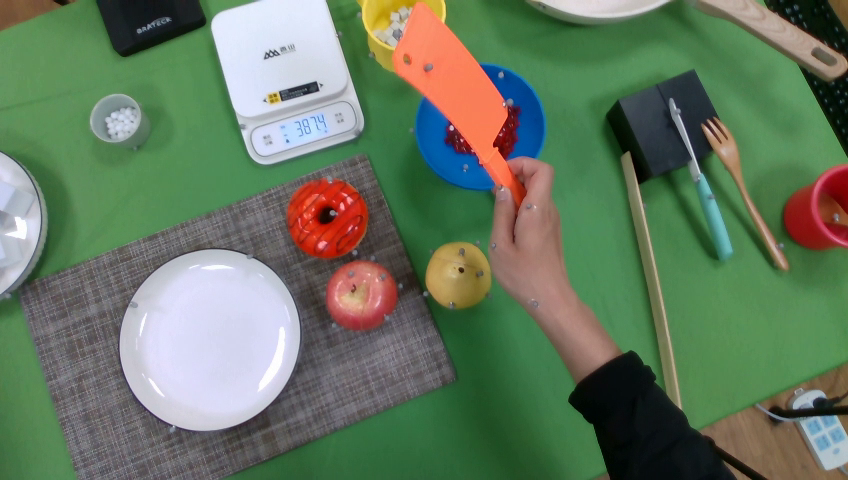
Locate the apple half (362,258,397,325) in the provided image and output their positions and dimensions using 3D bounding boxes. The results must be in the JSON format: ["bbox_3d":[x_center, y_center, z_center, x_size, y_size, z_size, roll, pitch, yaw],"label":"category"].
[{"bbox_3d":[-0.047,0.062,0.693,0.033,0.081,0.081,11,82,5],"label":"apple half"}]

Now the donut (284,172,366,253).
[{"bbox_3d":[-0.118,-0.032,0.721,0.099,0.048,0.099,0,83,2],"label":"donut"}]

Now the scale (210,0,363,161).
[{"bbox_3d":[-0.172,-0.210,0.756,0.149,0.031,0.200,-18,83,-2],"label":"scale"}]

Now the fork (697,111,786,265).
[{"bbox_3d":[0.381,-0.059,0.719,0.028,0.018,0.208,-32,99,-5],"label":"fork"}]

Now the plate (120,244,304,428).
[{"bbox_3d":[-0.241,0.109,0.705,0.209,0.038,0.208,0,82,0],"label":"plate"}]

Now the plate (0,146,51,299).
[{"bbox_3d":[-0.548,-0.017,0.726,0.208,0.039,0.207,0,82,0],"label":"plate"}]

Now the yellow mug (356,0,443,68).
[{"bbox_3d":[-0.039,-0.279,0.748,0.130,0.064,0.100,35,84,5],"label":"yellow mug"}]

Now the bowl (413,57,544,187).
[{"bbox_3d":[0.062,-0.130,0.722,0.151,0.077,0.151,0,83,0],"label":"bowl"}]

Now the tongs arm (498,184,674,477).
[{"bbox_3d":[0.187,0.099,0.713,0.051,0.026,0.383,-22,84,-8],"label":"tongs arm"}]

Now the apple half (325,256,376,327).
[{"bbox_3d":[-0.086,0.056,0.695,0.053,0.075,0.080,11,85,5],"label":"apple half"}]

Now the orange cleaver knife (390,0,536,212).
[{"bbox_3d":[0.047,-0.113,0.535,0.213,0.012,0.077,47,64,-27],"label":"orange cleaver knife"}]

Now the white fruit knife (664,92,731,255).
[{"bbox_3d":[0.321,-0.076,0.714,0.016,0.027,0.208,-24,98,-3],"label":"white fruit knife"}]

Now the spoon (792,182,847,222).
[{"bbox_3d":[0.493,-0.011,0.673,0.041,0.022,0.191,-28,39,-4],"label":"spoon"}]

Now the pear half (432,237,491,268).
[{"bbox_3d":[0.045,0.012,0.696,0.070,0.088,0.031,8,83,4],"label":"pear half"}]

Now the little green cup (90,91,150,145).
[{"bbox_3d":[-0.370,-0.147,0.744,0.061,0.039,0.061,0,82,1],"label":"little green cup"}]

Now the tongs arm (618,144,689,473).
[{"bbox_3d":[0.269,0.074,0.721,0.028,0.028,0.386,-7,83,-9],"label":"tongs arm"}]

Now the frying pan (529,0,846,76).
[{"bbox_3d":[0.286,-0.343,0.737,0.485,0.103,0.306,40,85,13],"label":"frying pan"}]

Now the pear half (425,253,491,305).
[{"bbox_3d":[0.037,0.045,0.682,0.076,0.110,0.056,10,82,6],"label":"pear half"}]
